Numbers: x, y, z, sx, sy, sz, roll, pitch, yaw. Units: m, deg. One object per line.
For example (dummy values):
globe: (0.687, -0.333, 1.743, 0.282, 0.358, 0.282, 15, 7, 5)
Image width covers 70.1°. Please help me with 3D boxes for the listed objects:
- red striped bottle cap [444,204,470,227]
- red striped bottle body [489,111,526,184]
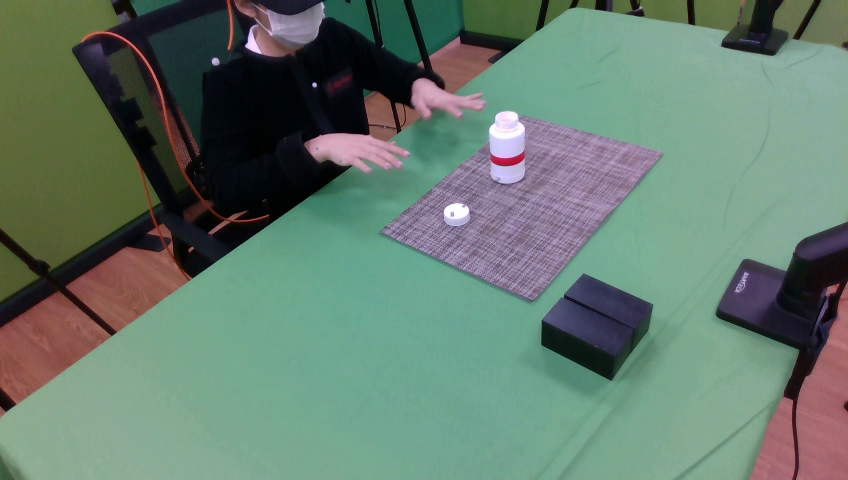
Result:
red striped bottle cap: (0.055, -0.042, 1.016, 0.044, 0.018, 0.044, -2, 42, 2)
red striped bottle body: (0.147, -0.164, 1.064, 0.063, 0.120, 0.062, -5, 39, 4)
